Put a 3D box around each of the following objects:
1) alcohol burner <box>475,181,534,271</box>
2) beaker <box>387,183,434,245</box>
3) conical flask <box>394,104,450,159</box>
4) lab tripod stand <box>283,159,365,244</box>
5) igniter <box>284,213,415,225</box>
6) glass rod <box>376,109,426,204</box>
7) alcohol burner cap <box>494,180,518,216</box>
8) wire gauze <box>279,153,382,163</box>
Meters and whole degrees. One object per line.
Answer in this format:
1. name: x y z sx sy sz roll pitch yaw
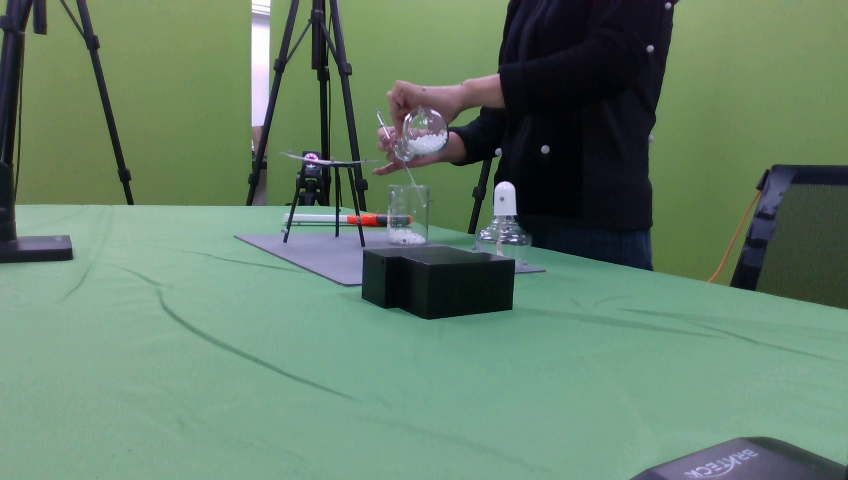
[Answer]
1. alcohol burner: 0.108 -0.020 0.804 0.078 0.119 0.078 3 5 0
2. beaker: -0.027 -0.044 1.012 0.074 0.100 0.083 -2 8 -34
3. conical flask: -0.013 -0.162 0.963 0.075 0.075 0.121 -1 -9 -20
4. lab tripod stand: -0.151 -0.063 0.983 0.148 0.131 0.148 4 7 0
5. igniter: -0.154 -0.045 1.282 0.278 0.025 0.057 0 -3 -20
6. glass rod: -0.040 -0.143 1.021 0.008 0.199 0.008 -23 -20 -9
7. alcohol burner cap: 0.108 -0.055 0.800 0.034 0.048 0.034 -2 4 0
8. wire gauze: -0.149 -0.129 0.974 0.124 0.011 0.122 10 9 40
